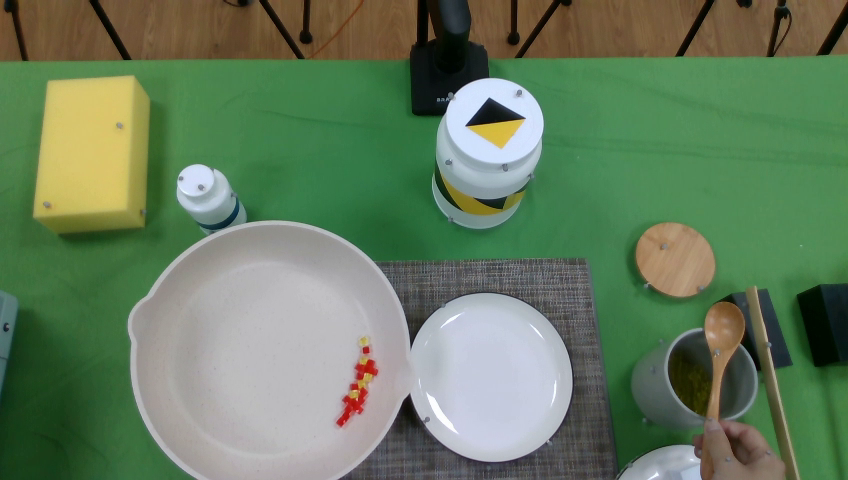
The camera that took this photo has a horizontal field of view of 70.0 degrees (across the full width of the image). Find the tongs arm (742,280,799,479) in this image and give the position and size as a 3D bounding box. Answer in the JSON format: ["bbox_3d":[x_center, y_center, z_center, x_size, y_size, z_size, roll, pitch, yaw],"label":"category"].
[{"bbox_3d":[0.446,0.236,0.725,0.051,0.026,0.383,-6,81,-7],"label":"tongs arm"}]

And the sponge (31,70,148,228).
[{"bbox_3d":[-0.450,-0.125,0.825,0.118,0.061,0.205,-6,72,-5],"label":"sponge"}]

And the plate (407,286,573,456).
[{"bbox_3d":[0.079,0.161,0.759,0.209,0.038,0.207,1,71,-2],"label":"plate"}]

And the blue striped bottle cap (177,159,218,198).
[{"bbox_3d":[-0.273,-0.075,0.730,0.044,0.021,0.044,1,72,-3],"label":"blue striped bottle cap"}]

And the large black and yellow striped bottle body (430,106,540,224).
[{"bbox_3d":[0.076,-0.112,0.782,0.131,0.185,0.130,1,70,-2],"label":"large black and yellow striped bottle body"}]

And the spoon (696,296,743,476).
[{"bbox_3d":[0.311,0.154,0.652,0.041,0.022,0.193,8,70,28],"label":"spoon"}]

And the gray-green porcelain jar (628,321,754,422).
[{"bbox_3d":[0.311,0.162,0.727,0.106,0.127,0.105,1,70,-2],"label":"gray-green porcelain jar"}]

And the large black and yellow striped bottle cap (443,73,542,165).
[{"bbox_3d":[0.080,-0.142,0.704,0.115,0.019,0.114,1,72,-2],"label":"large black and yellow striped bottle cap"}]

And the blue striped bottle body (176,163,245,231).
[{"bbox_3d":[-0.275,-0.056,0.777,0.063,0.121,0.062,1,70,-2],"label":"blue striped bottle body"}]

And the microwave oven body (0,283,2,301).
[{"bbox_3d":[-0.663,0.227,0.580,0.326,0.261,0.438,-1,71,-3],"label":"microwave oven body"}]

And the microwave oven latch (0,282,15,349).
[{"bbox_3d":[-0.523,0.092,0.737,0.030,0.029,0.078,2,71,-2],"label":"microwave oven latch"}]

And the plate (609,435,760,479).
[{"bbox_3d":[0.308,0.337,0.712,0.208,0.039,0.206,1,70,-2],"label":"plate"}]

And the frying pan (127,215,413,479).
[{"bbox_3d":[-0.176,0.211,0.626,0.308,0.103,0.484,18,61,-18],"label":"frying pan"}]

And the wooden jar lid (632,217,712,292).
[{"bbox_3d":[0.339,0.021,0.835,0.108,0.021,0.107,1,72,-2],"label":"wooden jar lid"}]

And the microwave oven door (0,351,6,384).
[{"bbox_3d":[-0.515,0.263,0.569,0.039,0.245,0.353,-1,70,-3],"label":"microwave oven door"}]
